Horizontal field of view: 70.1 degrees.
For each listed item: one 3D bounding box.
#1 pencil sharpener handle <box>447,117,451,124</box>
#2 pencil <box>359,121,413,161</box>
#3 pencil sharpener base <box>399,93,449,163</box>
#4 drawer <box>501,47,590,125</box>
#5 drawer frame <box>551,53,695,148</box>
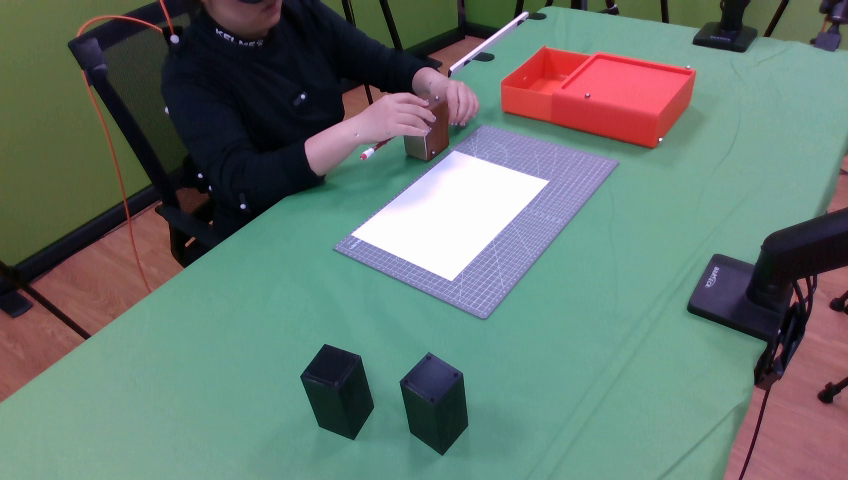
[{"bbox_3d":[0.035,-0.253,1.179,0.035,0.068,0.031,15,44,37],"label":"pencil sharpener handle"},{"bbox_3d":[-0.052,-0.192,1.097,0.012,0.012,0.194,23,48,31],"label":"pencil"},{"bbox_3d":[0.003,-0.216,1.159,0.061,0.107,0.077,22,48,31],"label":"pencil sharpener base"},{"bbox_3d":[0.296,-0.316,1.255,0.210,0.073,0.195,22,47,29],"label":"drawer"},{"bbox_3d":[0.391,-0.281,1.196,0.212,0.083,0.202,22,48,29],"label":"drawer frame"}]
